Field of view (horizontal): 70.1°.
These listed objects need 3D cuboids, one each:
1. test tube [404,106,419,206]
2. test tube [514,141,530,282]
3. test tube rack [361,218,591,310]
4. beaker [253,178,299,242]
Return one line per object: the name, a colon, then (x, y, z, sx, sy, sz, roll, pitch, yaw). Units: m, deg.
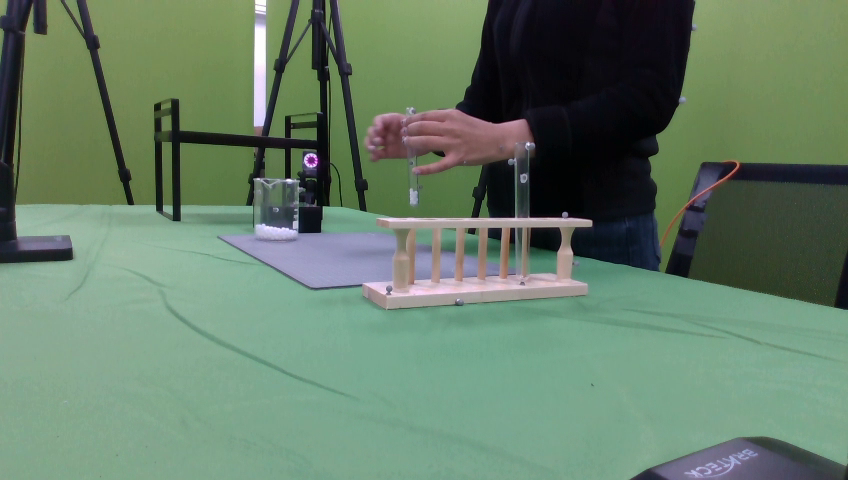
test tube: (-0.019, -0.126, 0.908, 0.017, 0.150, 0.017, -3, 3, 0)
test tube: (0.103, -0.028, 0.636, 0.017, 0.150, 0.017, -2, 12, 1)
test tube rack: (0.059, 0.019, 0.640, 0.243, 0.085, 0.066, -1, 8, -27)
beaker: (-0.244, -0.050, 0.990, 0.074, 0.100, 0.084, 2, 9, 1)
